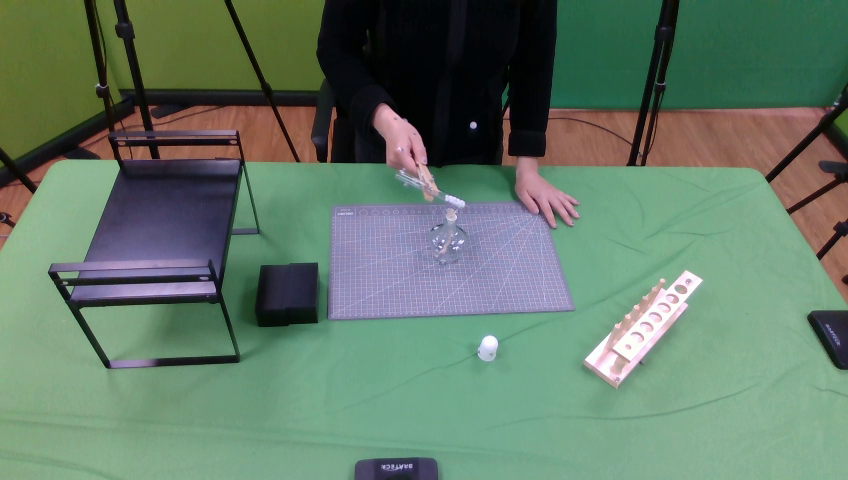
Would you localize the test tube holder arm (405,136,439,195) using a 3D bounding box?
[{"bbox_3d":[-0.005,-0.135,1.071,0.015,0.013,0.177,22,30,-34],"label":"test tube holder arm"}]

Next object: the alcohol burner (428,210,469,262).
[{"bbox_3d":[0.048,-0.015,1.146,0.078,0.119,0.077,3,48,-3],"label":"alcohol burner"}]

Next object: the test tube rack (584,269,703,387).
[{"bbox_3d":[0.381,0.139,1.045,0.066,0.085,0.242,37,54,28],"label":"test tube rack"}]

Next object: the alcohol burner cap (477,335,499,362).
[{"bbox_3d":[0.109,0.179,1.017,0.034,0.048,0.033,4,51,-4],"label":"alcohol burner cap"}]

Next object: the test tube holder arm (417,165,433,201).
[{"bbox_3d":[0.002,-0.101,1.042,0.015,0.010,0.087,22,40,-33],"label":"test tube holder arm"}]

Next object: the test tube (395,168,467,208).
[{"bbox_3d":[0.015,-0.086,1.028,0.151,0.017,0.017,23,37,-32],"label":"test tube"}]
